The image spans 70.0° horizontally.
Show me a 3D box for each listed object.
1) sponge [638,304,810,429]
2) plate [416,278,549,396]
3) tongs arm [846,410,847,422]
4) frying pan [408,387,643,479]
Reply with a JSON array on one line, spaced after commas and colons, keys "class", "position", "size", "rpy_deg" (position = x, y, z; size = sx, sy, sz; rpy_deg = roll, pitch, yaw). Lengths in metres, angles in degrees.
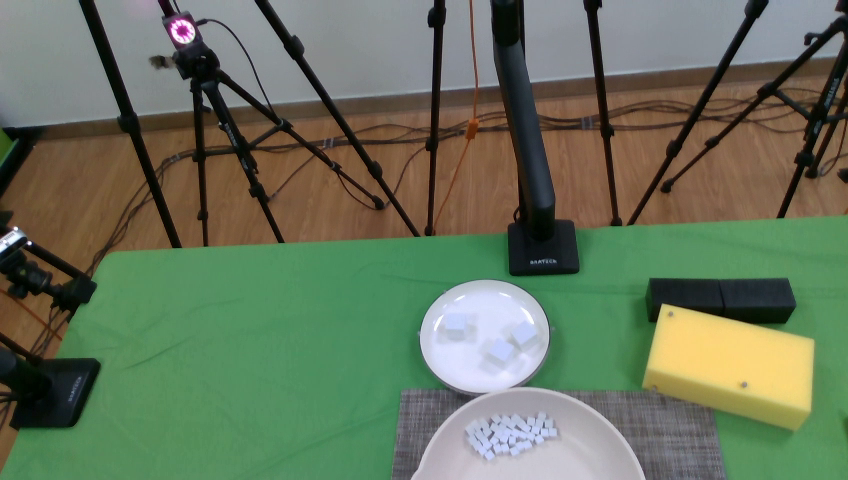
[{"class": "sponge", "position": [0.427, 0.177, 0.868], "size": [0.206, 0.061, 0.117], "rpy_deg": [12, 52, 20]}, {"class": "plate", "position": [0.093, 0.155, 0.964], "size": [0.207, 0.039, 0.205], "rpy_deg": [-5, 51, 7]}, {"class": "tongs arm", "position": [0.556, 0.380, 0.704], "size": [0.028, 0.028, 0.384], "rpy_deg": [1, 52, 9]}, {"class": "frying pan", "position": [0.117, 0.407, 0.705], "size": [0.306, 0.104, 0.483], "rpy_deg": [0, 43, 12]}]
